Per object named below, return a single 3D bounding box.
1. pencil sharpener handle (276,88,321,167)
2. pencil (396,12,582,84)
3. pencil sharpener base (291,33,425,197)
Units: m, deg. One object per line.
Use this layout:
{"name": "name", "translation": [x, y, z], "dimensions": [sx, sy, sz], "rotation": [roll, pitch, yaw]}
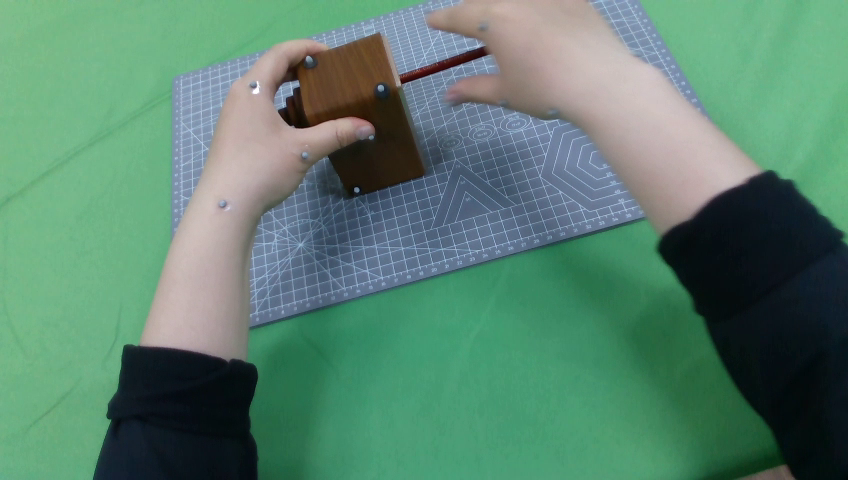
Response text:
{"name": "pencil sharpener handle", "translation": [-0.101, -0.081, 0.461], "dimensions": [0.030, 0.068, 0.035], "rotation": [-18, 57, 2]}
{"name": "pencil", "translation": [0.021, -0.132, 0.443], "dimensions": [0.194, 0.012, 0.012], "rotation": [-18, 59, 3]}
{"name": "pencil sharpener base", "translation": [-0.050, -0.092, 0.470], "dimensions": [0.077, 0.108, 0.061], "rotation": [-18, 59, 2]}
